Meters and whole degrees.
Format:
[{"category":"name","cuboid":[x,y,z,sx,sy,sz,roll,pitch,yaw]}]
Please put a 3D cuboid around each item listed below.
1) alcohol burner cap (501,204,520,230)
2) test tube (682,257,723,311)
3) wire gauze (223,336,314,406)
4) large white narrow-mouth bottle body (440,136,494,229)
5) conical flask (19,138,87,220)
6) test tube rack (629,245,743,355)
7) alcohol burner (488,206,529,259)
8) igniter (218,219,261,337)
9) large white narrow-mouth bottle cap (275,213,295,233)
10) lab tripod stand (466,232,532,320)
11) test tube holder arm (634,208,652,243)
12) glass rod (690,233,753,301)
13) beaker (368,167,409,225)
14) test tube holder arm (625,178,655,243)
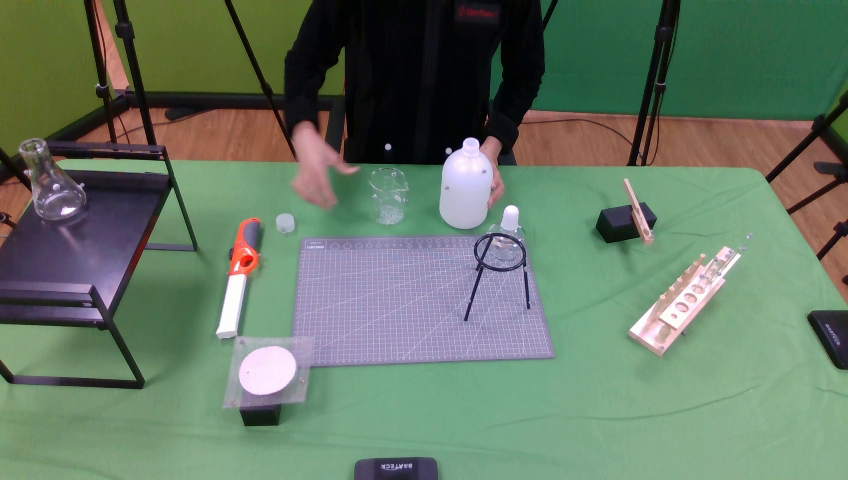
[{"category":"alcohol burner cap","cuboid":[0.164,-0.046,1.133,0.034,0.048,0.033,2,40,-1]},{"category":"test tube","cuboid":[0.475,0.080,1.037,0.017,0.151,0.017,1,51,-1]},{"category":"wire gauze","cuboid":[-0.237,0.197,0.931,0.121,0.011,0.124,1,45,-4]},{"category":"large white narrow-mouth bottle body","cuboid":[0.086,-0.120,1.197,0.102,0.195,0.101,2,47,-2]},{"category":"conical flask","cuboid":[-0.576,-0.097,0.930,0.075,0.122,0.075,2,46,-2]},{"category":"test tube rack","cuboid":[0.474,0.095,1.091,0.242,0.085,0.066,-34,56,-31]},{"category":"alcohol burner","cuboid":[0.163,-0.020,1.158,0.078,0.120,0.077,0,47,0]},{"category":"igniter","cuboid":[-0.336,0.060,1.111,0.057,0.025,0.274,-8,46,4]},{"category":"large white narrow-mouth bottle cap","cuboid":[-0.277,-0.034,1.213,0.038,0.024,0.037,3,46,-3]},{"category":"lab tripod stand","cuboid":[0.125,0.059,1.065,0.148,0.132,0.147,1,45,0]},{"category":"test tube holder arm","cuboid":[0.428,-0.030,1.189,0.010,0.015,0.087,2,47,-3]},{"category":"glass rod","cuboid":[0.507,0.053,1.041,0.008,0.200,0.008,5,51,-6]},{"category":"beaker","cuboid":[-0.070,-0.085,1.219,0.084,0.101,0.074,21,49,15]},{"category":"test tube holder arm","cuboid":[0.433,-0.062,1.220,0.013,0.015,0.177,1,47,-3]}]
